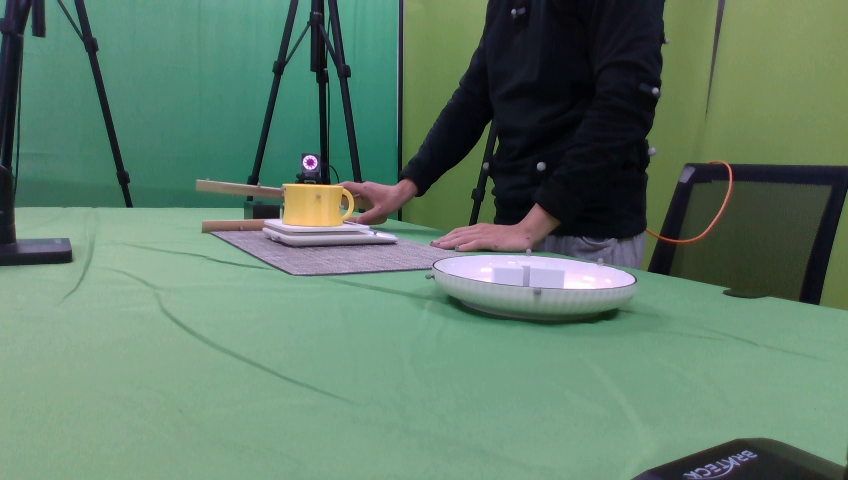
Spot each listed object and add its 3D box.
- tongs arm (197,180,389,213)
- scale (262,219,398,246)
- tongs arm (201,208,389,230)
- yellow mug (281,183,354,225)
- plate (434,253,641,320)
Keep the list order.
[{"bbox_3d":[-0.262,-0.084,1.244,0.387,0.026,0.050,4,31,-23],"label":"tongs arm"},{"bbox_3d":[-0.160,-0.016,1.028,0.202,0.031,0.148,-2,9,-32],"label":"scale"},{"bbox_3d":[-0.235,-0.041,1.188,0.390,0.028,0.028,-4,31,-33],"label":"tongs arm"},{"bbox_3d":[-0.172,-0.061,1.009,0.131,0.064,0.099,-2,7,-41],"label":"yellow mug"},{"bbox_3d":[0.114,0.047,0.625,0.208,0.039,0.207,2,7,0],"label":"plate"}]
